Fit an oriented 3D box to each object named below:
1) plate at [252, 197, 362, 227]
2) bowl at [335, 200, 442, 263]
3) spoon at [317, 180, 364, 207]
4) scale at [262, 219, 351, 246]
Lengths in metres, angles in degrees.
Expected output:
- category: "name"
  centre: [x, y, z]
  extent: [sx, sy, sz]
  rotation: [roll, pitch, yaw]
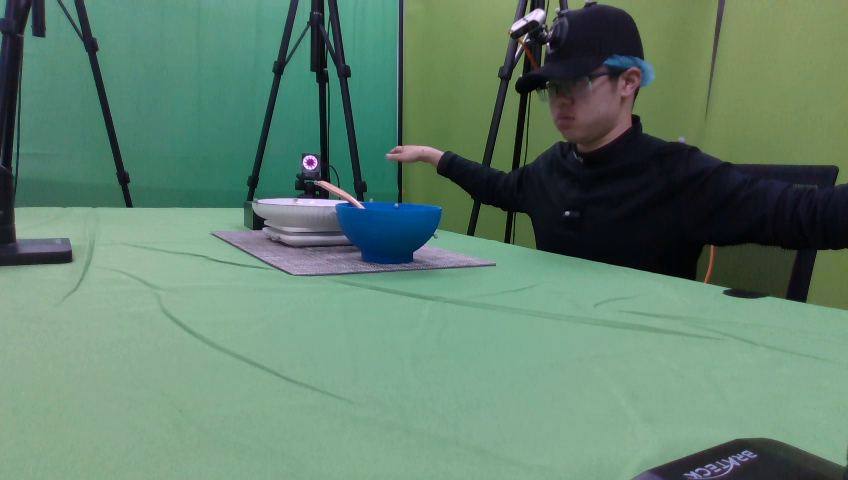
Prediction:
- category: "plate"
  centre: [-0.179, -0.047, 1.012]
  extent: [0.209, 0.038, 0.209]
  rotation: [2, 6, 0]
- category: "bowl"
  centre: [-0.051, -0.012, 0.849]
  extent: [0.151, 0.077, 0.151]
  rotation: [2, 7, 0]
- category: "spoon"
  centre: [-0.100, -0.051, 0.875]
  extent: [0.042, 0.021, 0.192]
  rotation: [-12, 37, -38]
- category: "scale"
  centre: [-0.160, -0.015, 1.027]
  extent: [0.202, 0.031, 0.148]
  rotation: [-2, 8, -32]
